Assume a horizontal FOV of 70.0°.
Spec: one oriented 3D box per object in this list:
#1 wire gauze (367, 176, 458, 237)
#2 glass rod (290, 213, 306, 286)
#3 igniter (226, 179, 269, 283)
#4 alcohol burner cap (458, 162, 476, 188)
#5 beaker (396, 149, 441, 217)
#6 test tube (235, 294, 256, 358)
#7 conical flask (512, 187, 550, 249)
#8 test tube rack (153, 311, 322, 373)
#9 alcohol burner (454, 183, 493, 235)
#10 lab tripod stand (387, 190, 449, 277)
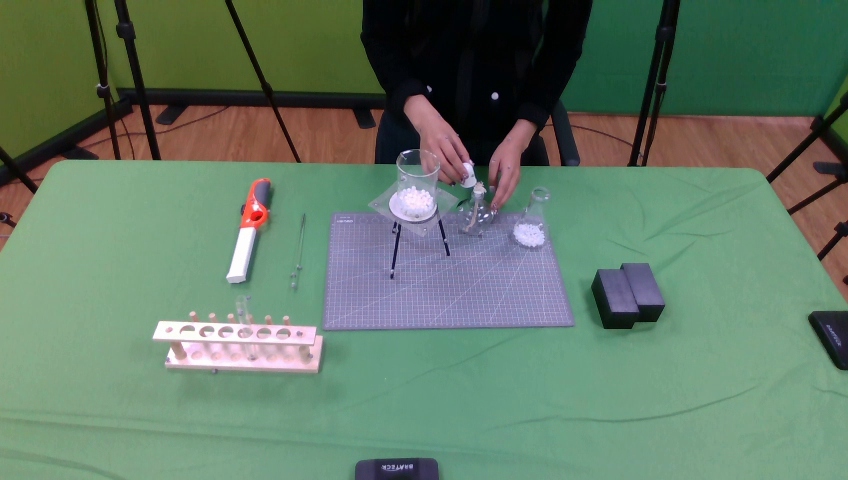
[{"bbox_3d":[-0.020,-0.066,1.089,0.124,0.011,0.121,27,47,22],"label":"wire gauze"},{"bbox_3d":[-0.244,0.015,1.175,0.008,0.008,0.198,1,43,-3],"label":"glass rod"},{"bbox_3d":[-0.345,-0.027,1.195,0.057,0.025,0.274,-6,46,5],"label":"igniter"},{"bbox_3d":[0.080,-0.125,1.148,0.034,0.048,0.033,-8,47,9],"label":"alcohol burner cap"},{"bbox_3d":[-0.015,-0.098,1.053,0.074,0.101,0.083,-31,55,-30],"label":"beaker"},{"bbox_3d":[-0.274,0.136,0.933,0.017,0.151,0.017,4,46,-4],"label":"test tube"},{"bbox_3d":[0.217,-0.048,1.190,0.075,0.122,0.075,2,46,-2],"label":"conical flask"},{"bbox_3d":[-0.293,0.160,0.978,0.242,0.085,0.066,3,46,-2],"label":"test tube rack"},{"bbox_3d":[0.101,-0.067,1.205,0.078,0.119,0.077,4,45,-4],"label":"alcohol burner"},{"bbox_3d":[-0.021,-0.018,1.135,0.148,0.132,0.147,3,44,-3],"label":"lab tripod stand"}]
